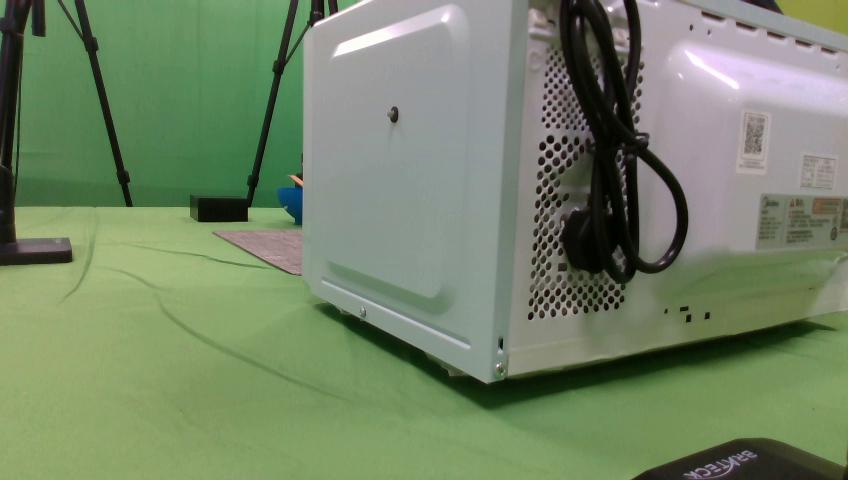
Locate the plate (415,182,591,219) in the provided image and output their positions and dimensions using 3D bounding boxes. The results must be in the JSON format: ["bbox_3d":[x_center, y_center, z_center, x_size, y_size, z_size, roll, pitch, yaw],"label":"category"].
[{"bbox_3d":[0.092,-0.048,0.723,0.208,0.039,0.207,2,5,0],"label":"plate"}]

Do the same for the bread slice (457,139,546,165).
[{"bbox_3d":[0.092,-0.103,0.710,0.105,0.019,0.131,7,6,1],"label":"bread slice"}]

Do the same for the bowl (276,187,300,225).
[{"bbox_3d":[-0.241,-0.073,1.302,0.151,0.077,0.151,2,7,0],"label":"bowl"}]

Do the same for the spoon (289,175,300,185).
[{"bbox_3d":[-0.260,-0.110,1.343,0.042,0.021,0.192,-9,34,-30],"label":"spoon"}]

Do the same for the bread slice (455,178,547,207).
[{"bbox_3d":[0.094,-0.058,0.715,0.107,0.018,0.134,-3,12,0],"label":"bread slice"}]

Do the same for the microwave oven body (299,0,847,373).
[{"bbox_3d":[0.152,-0.055,0.542,0.444,0.260,0.324,-2,7,-33],"label":"microwave oven body"}]

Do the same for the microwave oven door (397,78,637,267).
[{"bbox_3d":[0.115,-0.103,0.871,0.354,0.243,0.039,7,8,34],"label":"microwave oven door"}]

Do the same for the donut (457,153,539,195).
[{"bbox_3d":[0.089,-0.079,0.722,0.099,0.048,0.099,-7,3,1],"label":"donut"}]

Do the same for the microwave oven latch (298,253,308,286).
[{"bbox_3d":[-0.081,0.027,0.582,0.079,0.029,0.030,-1,7,-32],"label":"microwave oven latch"}]
